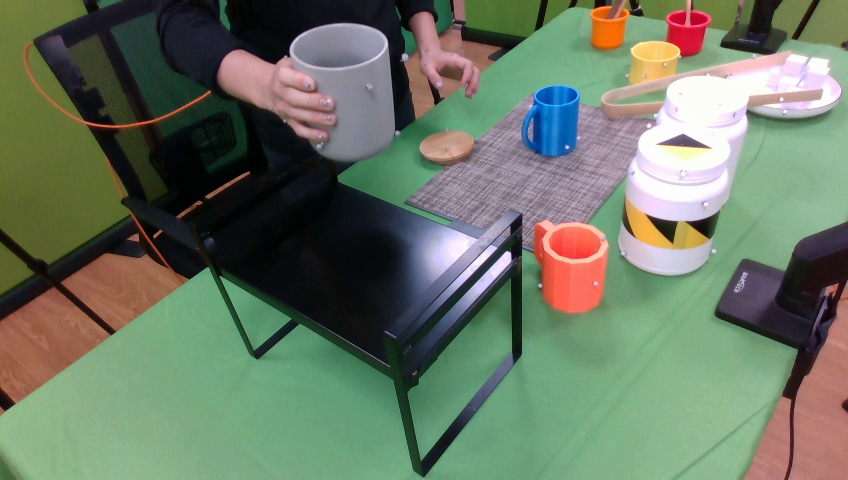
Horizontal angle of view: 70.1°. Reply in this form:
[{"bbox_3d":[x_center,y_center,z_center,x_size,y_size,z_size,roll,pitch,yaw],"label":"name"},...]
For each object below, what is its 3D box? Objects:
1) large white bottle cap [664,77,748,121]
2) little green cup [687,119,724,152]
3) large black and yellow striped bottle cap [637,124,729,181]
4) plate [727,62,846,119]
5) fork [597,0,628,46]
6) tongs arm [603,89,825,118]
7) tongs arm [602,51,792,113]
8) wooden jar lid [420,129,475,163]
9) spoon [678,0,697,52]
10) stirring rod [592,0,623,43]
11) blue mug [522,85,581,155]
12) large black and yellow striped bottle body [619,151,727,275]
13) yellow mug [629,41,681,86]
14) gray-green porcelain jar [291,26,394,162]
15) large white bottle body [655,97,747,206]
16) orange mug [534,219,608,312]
[{"bbox_3d":[0.421,-0.212,0.905,0.115,0.018,0.114,-4,40,4],"label":"large white bottle cap"},{"bbox_3d":[0.514,-0.191,1.109,0.061,0.039,0.061,-5,40,5],"label":"little green cup"},{"bbox_3d":[0.346,-0.119,0.810,0.115,0.019,0.114,-5,41,5],"label":"large black and yellow striped bottle cap"},{"bbox_3d":[0.709,-0.292,1.197,0.207,0.039,0.206,-4,40,4],"label":"plate"},{"bbox_3d":[0.479,-0.558,1.455,0.028,0.019,0.207,35,100,38],"label":"fork"},{"bbox_3d":[0.546,-0.262,1.163,0.386,0.028,0.028,-1,49,18],"label":"tongs arm"},{"bbox_3d":[0.552,-0.320,1.224,0.384,0.027,0.050,-10,43,7],"label":"tongs arm"},{"bbox_3d":[0.047,-0.183,1.183,0.108,0.021,0.108,-6,37,5],"label":"wooden jar lid"},{"bbox_3d":[0.614,-0.526,1.402,0.041,0.022,0.193,3,86,11],"label":"spoon"},{"bbox_3d":[0.460,-0.557,1.461,0.014,0.176,0.006,35,11,22],"label":"stirring rod"},{"bbox_3d":[0.233,-0.218,1.127,0.117,0.106,0.081,-23,43,-16],"label":"blue mug"},{"bbox_3d":[0.354,-0.056,0.865,0.131,0.185,0.130,-4,41,4],"label":"large black and yellow striped bottle body"},{"bbox_3d":[0.495,-0.389,1.321,0.100,0.064,0.130,-14,40,-6],"label":"yellow mug"},{"bbox_3d":[-0.089,-0.162,0.692,0.106,0.127,0.105,-1,44,1],"label":"gray-green porcelain jar"},{"bbox_3d":[0.430,-0.148,0.959,0.130,0.185,0.130,-4,41,4],"label":"large white bottle body"},{"bbox_3d":[0.200,0.027,0.858,0.084,0.101,0.125,-24,47,-18],"label":"orange mug"}]
